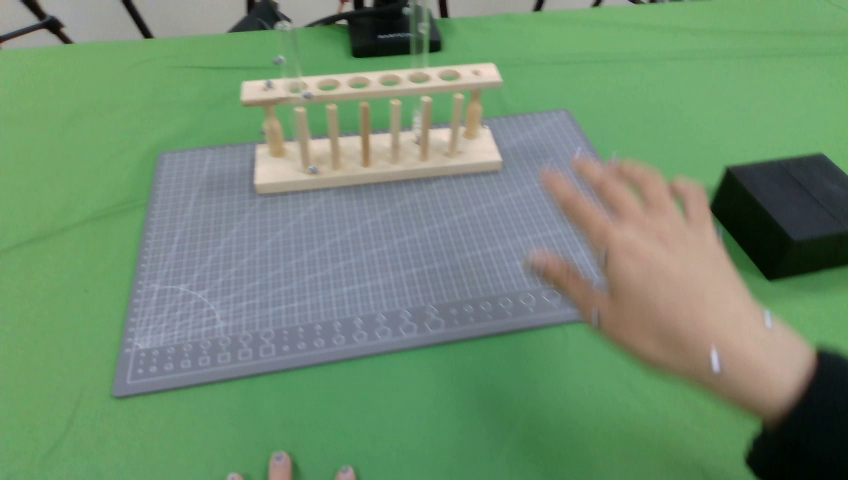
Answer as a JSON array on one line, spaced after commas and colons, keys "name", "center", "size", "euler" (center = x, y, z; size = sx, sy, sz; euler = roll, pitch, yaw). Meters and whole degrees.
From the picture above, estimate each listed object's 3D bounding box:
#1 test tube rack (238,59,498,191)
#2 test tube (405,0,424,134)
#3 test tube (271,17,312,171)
[{"name": "test tube rack", "center": [-0.049, -0.113, 0.593], "size": [0.243, 0.086, 0.066], "euler": [-7, 45, -7]}, {"name": "test tube", "center": [-0.008, -0.168, 0.578], "size": [0.017, 0.151, 0.017], "euler": [0, 41, 0]}, {"name": "test tube", "center": [-0.116, -0.125, 0.540], "size": [0.017, 0.152, 0.017], "euler": [0, 44, 0]}]
